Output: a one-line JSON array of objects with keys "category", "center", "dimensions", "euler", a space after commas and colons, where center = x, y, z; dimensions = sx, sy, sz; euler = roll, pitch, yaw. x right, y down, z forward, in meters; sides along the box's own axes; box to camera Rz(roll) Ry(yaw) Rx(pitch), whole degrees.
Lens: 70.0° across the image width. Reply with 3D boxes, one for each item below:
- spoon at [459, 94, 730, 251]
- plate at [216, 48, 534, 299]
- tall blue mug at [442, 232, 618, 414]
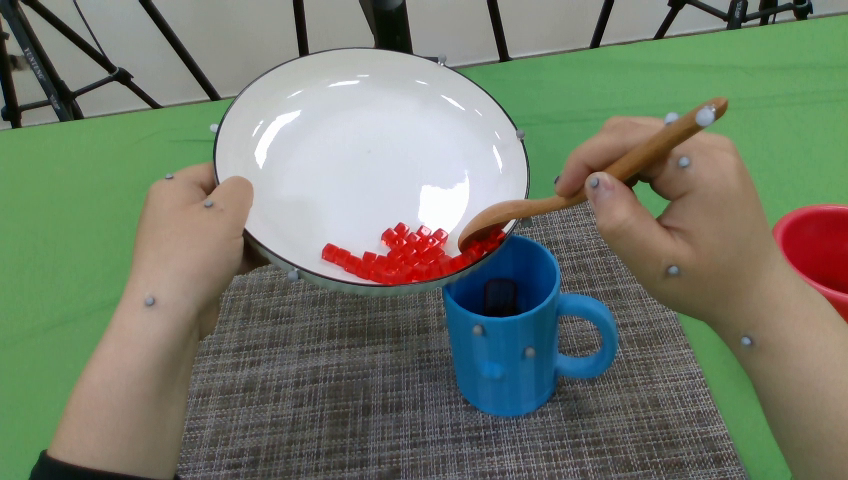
[{"category": "spoon", "center": [0.071, -0.024, 0.301], "dimensions": [0.042, 0.193, 0.021], "euler": [-21, 88, -29]}, {"category": "plate", "center": [-0.030, -0.048, 0.413], "dimensions": [0.208, 0.039, 0.205], "euler": [5, 56, -6]}, {"category": "tall blue mug", "center": [0.070, 0.056, 0.419], "dimensions": [0.107, 0.109, 0.077], "euler": [-12, 43, -2]}]
